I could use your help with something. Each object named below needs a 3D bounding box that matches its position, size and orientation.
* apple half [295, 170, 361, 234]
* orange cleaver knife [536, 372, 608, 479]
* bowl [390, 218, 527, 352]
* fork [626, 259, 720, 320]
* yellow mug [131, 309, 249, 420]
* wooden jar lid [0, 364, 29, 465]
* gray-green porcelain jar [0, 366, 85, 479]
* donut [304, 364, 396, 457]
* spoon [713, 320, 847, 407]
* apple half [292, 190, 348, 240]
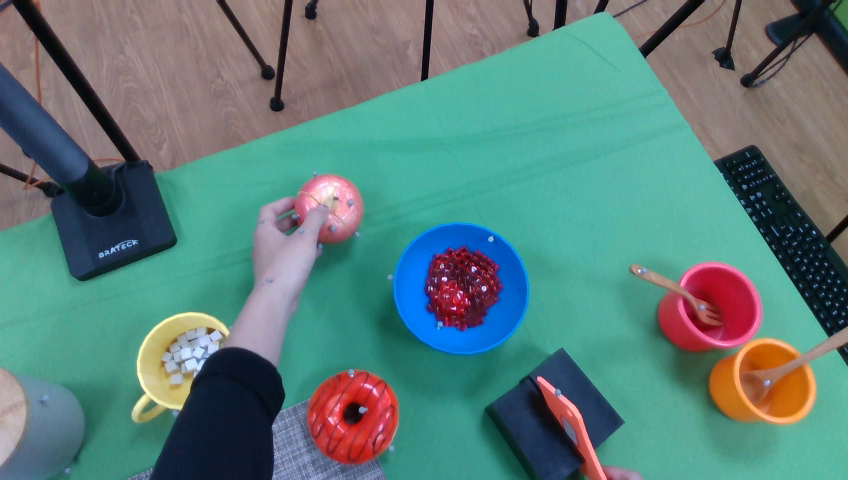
[{"bbox_3d":[-0.106,-0.050,0.718,0.081,0.075,0.053,37,69,2],"label":"apple half"},{"bbox_3d":[0.172,0.230,0.637,0.012,0.077,0.212,-31,105,-12],"label":"orange cleaver knife"},{"bbox_3d":[0.036,0.059,0.691,0.151,0.077,0.150,2,71,-4],"label":"bowl"},{"bbox_3d":[0.282,0.056,0.674,0.209,0.018,0.028,25,62,-40],"label":"fork"},{"bbox_3d":[-0.256,0.141,0.646,0.099,0.064,0.130,40,73,11],"label":"yellow mug"},{"bbox_3d":[-0.401,0.159,0.530,0.108,0.021,0.107,1,69,-2],"label":"wooden jar lid"},{"bbox_3d":[-0.405,0.181,0.589,0.106,0.127,0.105,1,70,-4],"label":"gray-green porcelain jar"},{"bbox_3d":[-0.079,0.183,0.652,0.099,0.048,0.098,2,71,-4],"label":"donut"},{"bbox_3d":[0.404,0.126,0.658,0.022,0.194,0.041,-6,59,-54],"label":"spoon"},{"bbox_3d":[-0.128,-0.020,0.706,0.081,0.082,0.032,34,70,8],"label":"apple half"}]
